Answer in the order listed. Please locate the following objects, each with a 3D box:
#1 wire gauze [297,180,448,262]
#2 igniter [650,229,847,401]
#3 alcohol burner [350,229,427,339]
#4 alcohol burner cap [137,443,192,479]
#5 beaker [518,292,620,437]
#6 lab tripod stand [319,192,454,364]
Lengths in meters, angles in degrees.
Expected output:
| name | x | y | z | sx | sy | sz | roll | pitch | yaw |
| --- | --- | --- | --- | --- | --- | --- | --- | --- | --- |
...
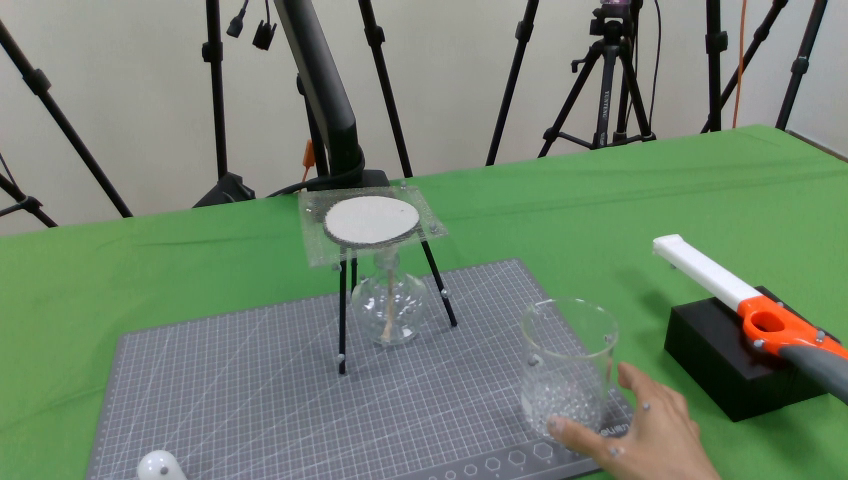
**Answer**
| name | x | y | z | sx | sy | sz | roll | pitch | yaw |
| --- | --- | --- | --- | --- | --- | --- | --- | --- | --- |
| wire gauze | -0.051 | -0.025 | 0.551 | 0.122 | 0.011 | 0.123 | -9 | 33 | -12 |
| igniter | 0.293 | 0.059 | 0.537 | 0.057 | 0.025 | 0.273 | -12 | 30 | -12 |
| alcohol burner | -0.036 | 0.039 | 0.594 | 0.078 | 0.120 | 0.077 | -1 | 34 | 1 |
| alcohol burner cap | -0.199 | 0.175 | 0.460 | 0.034 | 0.048 | 0.033 | -2 | 33 | 1 |
| beaker | 0.112 | 0.102 | 0.496 | 0.074 | 0.101 | 0.083 | -20 | 36 | -25 |
| lab tripod stand | -0.044 | 0.030 | 0.591 | 0.148 | 0.132 | 0.147 | -1 | 31 | 1 |
